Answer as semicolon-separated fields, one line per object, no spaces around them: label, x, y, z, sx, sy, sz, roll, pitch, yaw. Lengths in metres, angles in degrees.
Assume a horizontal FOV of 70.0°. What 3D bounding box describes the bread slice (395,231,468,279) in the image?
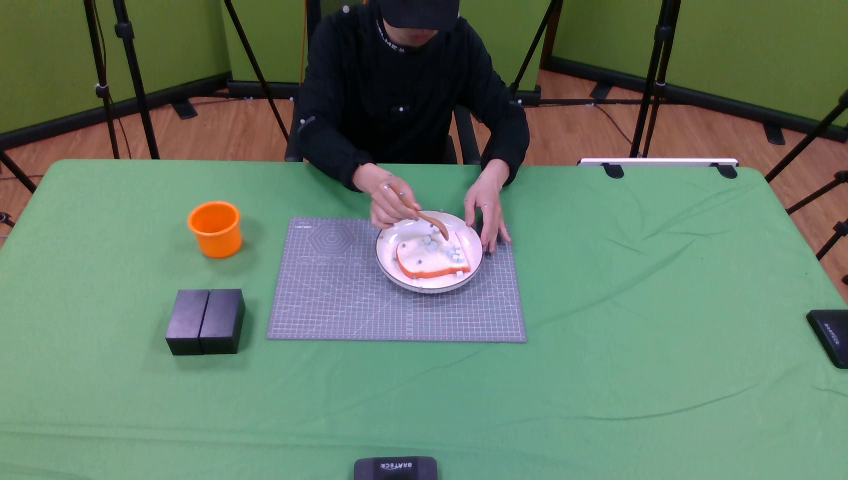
bread slice;0.011;0.030;1.159;0.132;0.019;0.104;-9;47;-14

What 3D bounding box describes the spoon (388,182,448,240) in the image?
spoon;-0.008;-0.050;1.099;0.021;0.195;0.041;-44;46;10

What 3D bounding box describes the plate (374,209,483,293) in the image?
plate;0.009;0.024;1.160;0.209;0.038;0.208;2;46;-2
